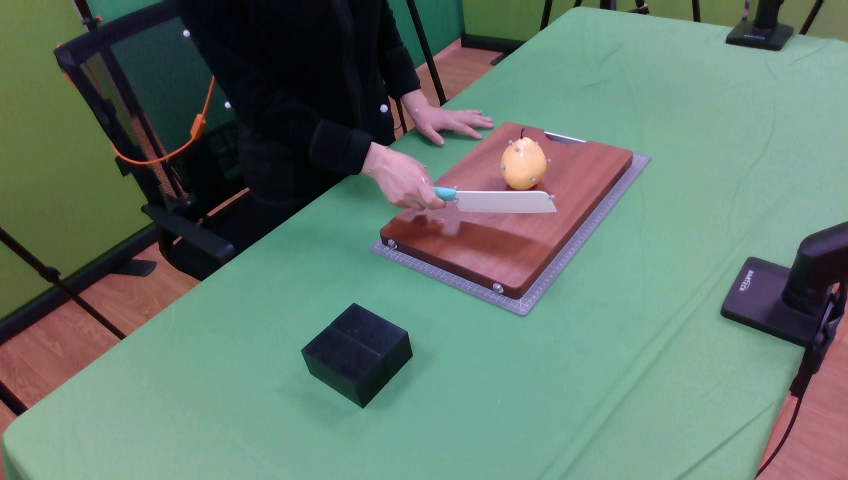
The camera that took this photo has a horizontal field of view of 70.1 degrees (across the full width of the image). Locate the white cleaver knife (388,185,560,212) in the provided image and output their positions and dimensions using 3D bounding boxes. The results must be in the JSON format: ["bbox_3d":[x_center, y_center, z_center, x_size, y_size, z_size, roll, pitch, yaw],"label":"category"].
[{"bbox_3d":[0.069,-0.060,0.950,0.284,0.066,0.021,5,61,28],"label":"white cleaver knife"}]

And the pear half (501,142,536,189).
[{"bbox_3d":[0.152,-0.119,1.000,0.070,0.088,0.031,27,53,30],"label":"pear half"}]

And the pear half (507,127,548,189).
[{"bbox_3d":[0.175,-0.145,1.011,0.076,0.110,0.056,27,52,30],"label":"pear half"}]
